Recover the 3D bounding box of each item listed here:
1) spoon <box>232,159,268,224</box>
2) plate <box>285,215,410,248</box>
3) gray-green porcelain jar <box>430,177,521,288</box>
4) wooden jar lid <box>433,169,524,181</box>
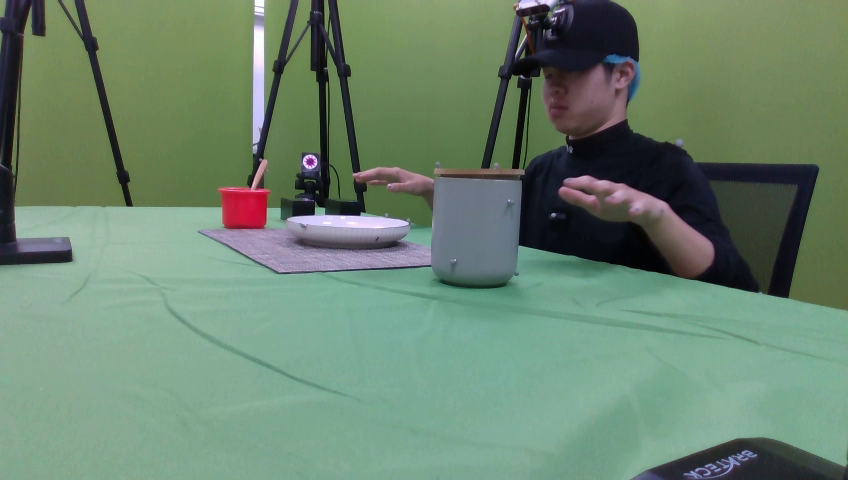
[{"bbox_3d":[-0.342,-0.101,1.218,0.041,0.021,0.193,4,51,3],"label":"spoon"},{"bbox_3d":[-0.127,-0.015,1.012,0.208,0.039,0.207,3,7,0],"label":"plate"},{"bbox_3d":[0.060,-0.011,0.725,0.106,0.126,0.106,2,7,0],"label":"gray-green porcelain jar"},{"bbox_3d":[0.064,-0.074,0.717,0.108,0.020,0.108,0,5,0],"label":"wooden jar lid"}]
